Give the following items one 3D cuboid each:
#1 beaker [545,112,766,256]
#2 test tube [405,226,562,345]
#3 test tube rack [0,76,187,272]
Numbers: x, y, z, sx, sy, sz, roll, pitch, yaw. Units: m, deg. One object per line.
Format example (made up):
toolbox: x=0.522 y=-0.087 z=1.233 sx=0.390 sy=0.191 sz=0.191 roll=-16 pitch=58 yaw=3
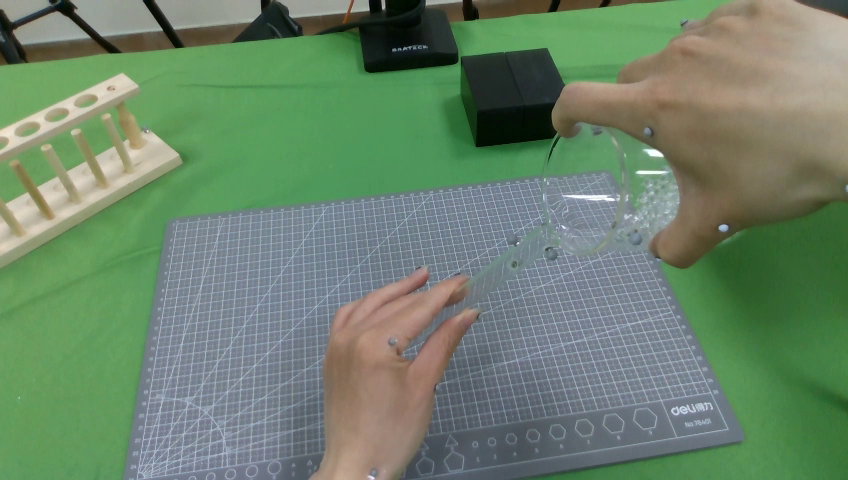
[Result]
beaker: x=0.129 y=-0.027 z=0.341 sx=0.101 sy=0.084 sz=0.073 roll=-2 pitch=53 yaw=-20
test tube: x=0.033 y=0.035 z=0.401 sx=0.017 sy=0.150 sz=0.017 roll=24 pitch=45 yaw=-27
test tube rack: x=-0.364 y=-0.058 z=0.582 sx=0.066 sy=0.086 sz=0.242 roll=36 pitch=59 yaw=28
